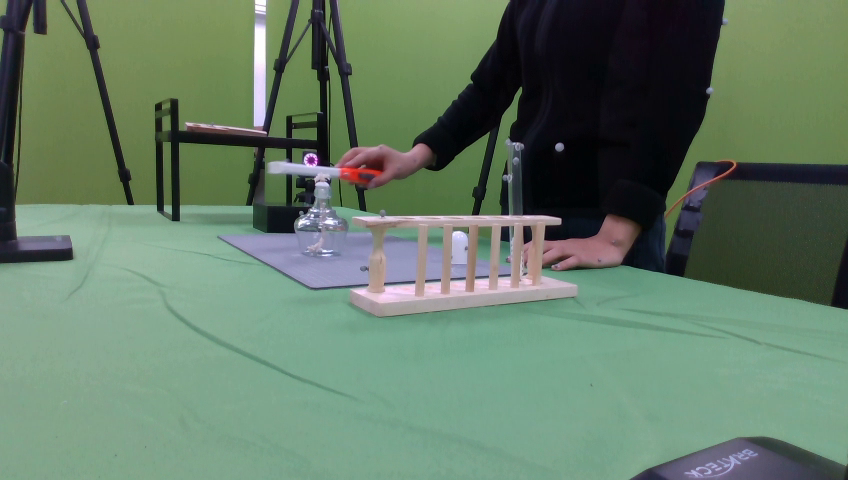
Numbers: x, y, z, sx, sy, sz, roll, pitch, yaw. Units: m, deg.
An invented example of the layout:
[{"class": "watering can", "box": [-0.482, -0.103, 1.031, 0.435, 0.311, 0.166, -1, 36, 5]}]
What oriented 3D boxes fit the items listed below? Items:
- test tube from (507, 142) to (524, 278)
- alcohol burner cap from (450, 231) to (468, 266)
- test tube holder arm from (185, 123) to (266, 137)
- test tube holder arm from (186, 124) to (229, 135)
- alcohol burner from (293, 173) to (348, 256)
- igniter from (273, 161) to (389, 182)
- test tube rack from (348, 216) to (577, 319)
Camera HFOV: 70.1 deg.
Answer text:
[{"class": "test tube", "box": [0.101, -0.032, 0.666, 0.017, 0.150, 0.017, -2, 6, 1]}, {"class": "alcohol burner cap", "box": [0.046, 0.012, 0.838, 0.034, 0.048, 0.034, 3, 6, 0]}, {"class": "test tube holder arm", "box": [-0.433, -0.242, 1.333, 0.179, 0.015, 0.013, -3, 48, -42]}, {"class": "test tube holder arm", "box": [-0.465, -0.236, 1.300, 0.088, 0.015, 0.010, -2, 47, -41]}, {"class": "alcohol burner", "box": [-0.146, -0.036, 0.859, 0.078, 0.119, 0.078, 4, 8, 0]}, {"class": "igniter", "box": [-0.145, -0.116, 1.029, 0.057, 0.025, 0.278, 5, 5, 32]}, {"class": "test tube rack", "box": [0.048, 0.021, 0.619, 0.244, 0.085, 0.066, -2, 9, -31]}]
